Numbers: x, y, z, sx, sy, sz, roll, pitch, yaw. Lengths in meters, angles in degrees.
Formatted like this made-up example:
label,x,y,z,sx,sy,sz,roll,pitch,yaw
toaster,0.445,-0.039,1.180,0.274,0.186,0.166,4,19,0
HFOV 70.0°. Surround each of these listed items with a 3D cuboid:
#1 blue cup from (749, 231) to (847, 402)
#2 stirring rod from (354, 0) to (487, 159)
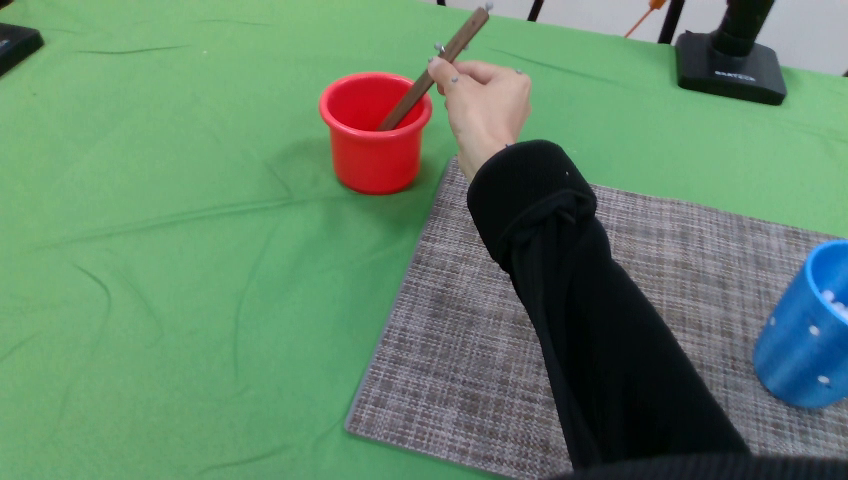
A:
label,x,y,z,sx,sy,sz,roll,pitch,yaw
blue cup,0.272,0.059,0.408,0.093,0.101,0.091,3,48,-3
stirring rod,-0.008,-0.133,0.519,0.006,0.176,0.014,-7,57,-55
